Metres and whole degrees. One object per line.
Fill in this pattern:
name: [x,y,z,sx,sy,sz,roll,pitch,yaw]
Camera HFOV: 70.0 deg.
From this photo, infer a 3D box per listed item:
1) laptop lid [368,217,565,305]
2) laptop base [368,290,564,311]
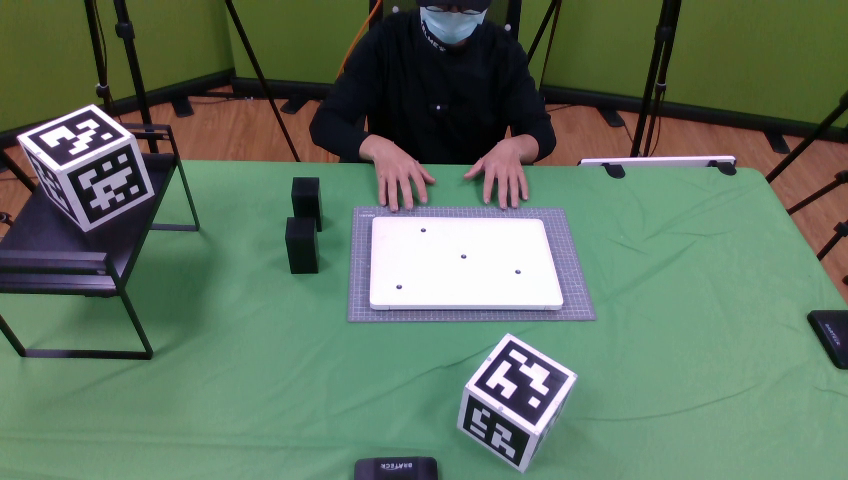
laptop lid: [0.074,0.034,1.153,0.357,0.013,0.240,2,44,-2]
laptop base: [0.074,0.044,1.160,0.354,0.023,0.234,0,43,-3]
